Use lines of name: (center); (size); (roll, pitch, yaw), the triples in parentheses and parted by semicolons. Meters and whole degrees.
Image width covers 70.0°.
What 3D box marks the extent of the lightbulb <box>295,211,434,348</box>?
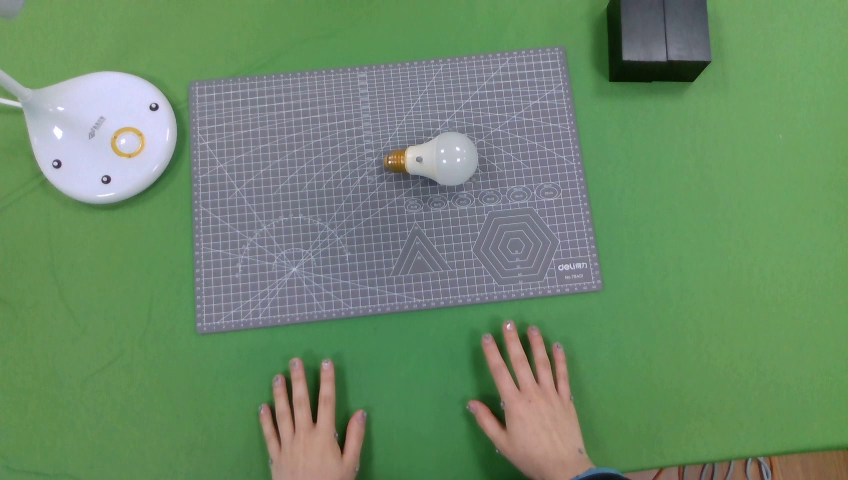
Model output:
lightbulb: (-0.037, 0.025, 0.286); (0.060, 0.107, 0.059); (14, 63, -28)

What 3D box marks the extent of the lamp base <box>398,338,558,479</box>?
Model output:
lamp base: (0.046, 0.156, 0.596); (0.179, 0.181, 0.159); (9, 69, 11)

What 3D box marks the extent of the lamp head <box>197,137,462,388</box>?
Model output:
lamp head: (-0.056, 0.024, 0.304); (0.113, 0.123, 0.111); (18, 59, -33)
